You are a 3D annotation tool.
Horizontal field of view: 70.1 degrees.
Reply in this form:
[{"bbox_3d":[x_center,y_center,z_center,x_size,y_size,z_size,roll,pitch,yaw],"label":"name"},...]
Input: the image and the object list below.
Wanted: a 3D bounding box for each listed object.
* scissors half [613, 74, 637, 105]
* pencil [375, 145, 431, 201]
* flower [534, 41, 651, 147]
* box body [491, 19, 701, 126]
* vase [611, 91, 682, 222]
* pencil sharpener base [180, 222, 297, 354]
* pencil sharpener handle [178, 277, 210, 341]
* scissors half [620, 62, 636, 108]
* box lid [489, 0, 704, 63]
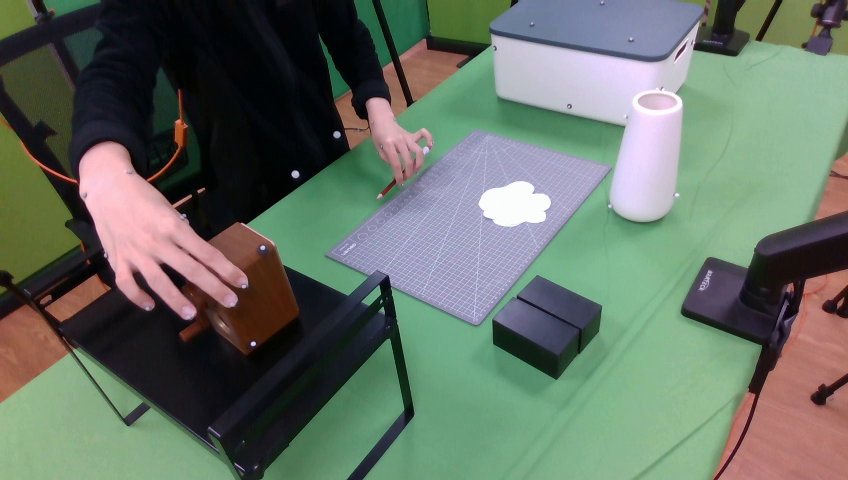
[{"bbox_3d":[0.427,-0.330,1.306,0.013,0.040,0.174,31,31,-14],"label":"scissors half"},{"bbox_3d":[-0.036,-0.122,1.088,0.012,0.012,0.194,16,43,25],"label":"pencil"},{"bbox_3d":[0.364,-0.319,1.319,0.038,0.044,0.359,-4,48,-50],"label":"flower"},{"bbox_3d":[0.352,-0.384,1.268,0.361,0.161,0.255,21,48,29],"label":"box body"},{"bbox_3d":[0.348,-0.125,0.935,0.098,0.201,0.097,-3,40,3],"label":"vase"},{"bbox_3d":[-0.182,0.050,0.597,0.061,0.107,0.077,27,52,33],"label":"pencil sharpener base"},{"bbox_3d":[-0.219,0.067,0.564,0.036,0.068,0.031,34,56,24],"label":"pencil sharpener handle"},{"bbox_3d":[0.434,-0.340,1.298,0.013,0.040,0.174,25,42,-11],"label":"scissors half"},{"bbox_3d":[0.345,-0.441,1.217,0.369,0.015,0.264,21,49,29],"label":"box lid"}]
